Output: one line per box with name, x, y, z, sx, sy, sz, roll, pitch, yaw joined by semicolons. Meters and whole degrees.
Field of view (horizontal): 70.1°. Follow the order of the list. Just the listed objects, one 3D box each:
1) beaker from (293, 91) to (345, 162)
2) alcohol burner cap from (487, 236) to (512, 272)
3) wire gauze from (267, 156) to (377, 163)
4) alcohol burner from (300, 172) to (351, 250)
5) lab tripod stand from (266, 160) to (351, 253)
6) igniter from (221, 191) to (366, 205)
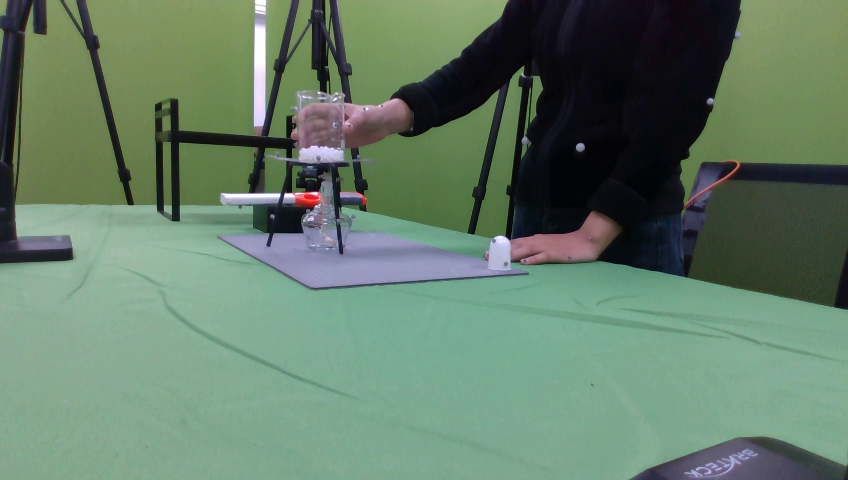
beaker;-0.153;-0.166;0.897;0.074;0.100;0.083;-4;8;-32
alcohol burner cap;0.101;0.019;0.802;0.034;0.048;0.034;2;7;0
wire gauze;-0.154;-0.119;0.909;0.122;0.011;0.124;-5;8;-44
alcohol burner;-0.149;-0.044;0.921;0.078;0.119;0.078;4;7;0
lab tripod stand;-0.163;-0.054;0.915;0.148;0.131;0.148;2;9;0
igniter;-0.240;-0.078;1.150;0.278;0.025;0.057;-3;20;-32
